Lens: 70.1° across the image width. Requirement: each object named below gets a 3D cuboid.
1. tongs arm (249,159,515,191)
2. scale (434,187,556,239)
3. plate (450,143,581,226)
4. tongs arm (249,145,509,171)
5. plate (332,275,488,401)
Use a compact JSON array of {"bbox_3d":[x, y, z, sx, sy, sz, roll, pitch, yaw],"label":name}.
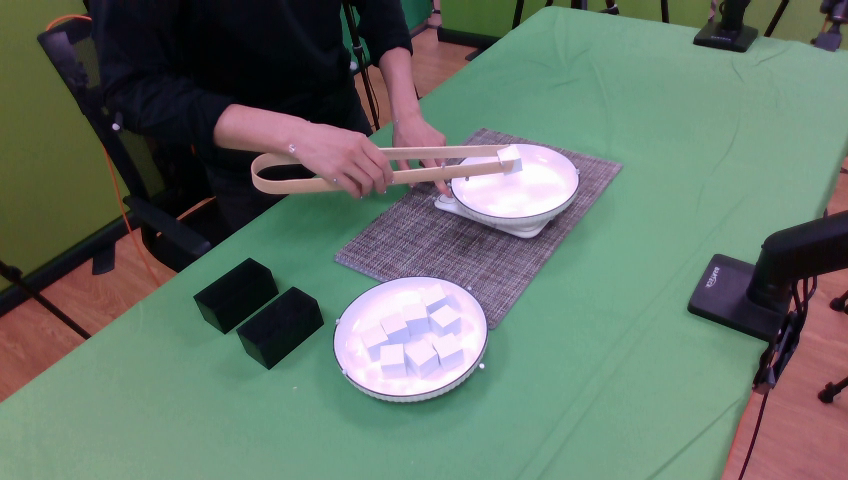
[{"bbox_3d":[-0.053,-0.105,0.882,0.387,0.026,0.050,-8,57,-17],"label":"tongs arm"},{"bbox_3d":[0.132,-0.075,1.025,0.199,0.032,0.149,22,48,30],"label":"scale"},{"bbox_3d":[0.148,-0.087,0.986,0.209,0.038,0.208,-4,41,4],"label":"plate"},{"bbox_3d":[-0.057,-0.123,0.894,0.389,0.028,0.028,-4,59,-14],"label":"tongs arm"},{"bbox_3d":[-0.017,0.130,0.808,0.207,0.039,0.206,-4,41,4],"label":"plate"}]
